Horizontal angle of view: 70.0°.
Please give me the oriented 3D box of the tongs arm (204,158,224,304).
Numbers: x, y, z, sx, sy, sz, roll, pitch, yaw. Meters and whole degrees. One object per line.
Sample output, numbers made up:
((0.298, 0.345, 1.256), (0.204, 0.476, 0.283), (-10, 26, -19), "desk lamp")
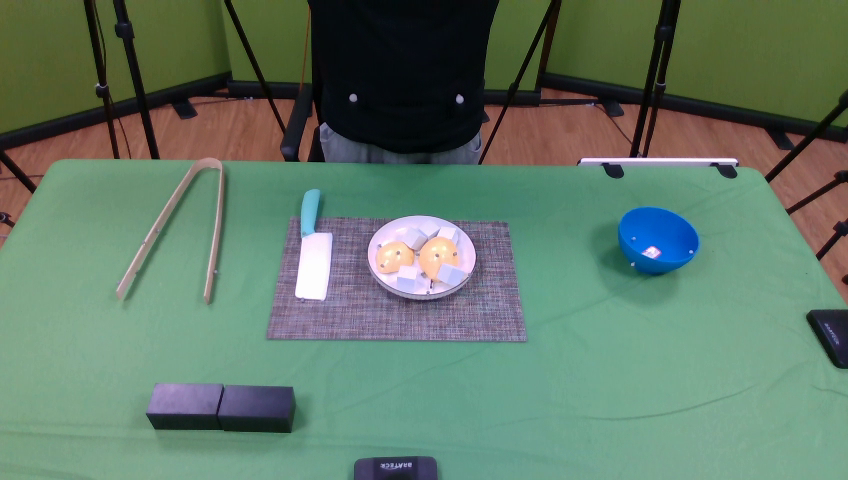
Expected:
((-0.415, -0.032, 1.192), (0.028, 0.028, 0.385), (-6, 47, -7), "tongs arm")

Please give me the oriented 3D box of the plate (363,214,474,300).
((-0.010, 0.036, 1.146), (0.208, 0.039, 0.206), (2, 46, -2), "plate")

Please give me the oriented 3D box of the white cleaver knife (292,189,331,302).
((-0.215, 0.006, 1.178), (0.066, 0.021, 0.284), (5, 49, -12), "white cleaver knife")

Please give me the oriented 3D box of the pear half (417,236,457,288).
((0.022, 0.039, 1.127), (0.076, 0.056, 0.109), (5, 50, 7), "pear half")

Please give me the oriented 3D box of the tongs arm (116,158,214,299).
((-0.495, -0.037, 1.184), (0.051, 0.026, 0.382), (6, 45, 0), "tongs arm")

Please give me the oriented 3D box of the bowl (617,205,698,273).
((0.444, 0.011, 1.182), (0.151, 0.077, 0.150), (2, 46, -2), "bowl")

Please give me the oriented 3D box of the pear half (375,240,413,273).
((-0.059, 0.026, 1.145), (0.070, 0.031, 0.088), (23, 43, 21), "pear half")
